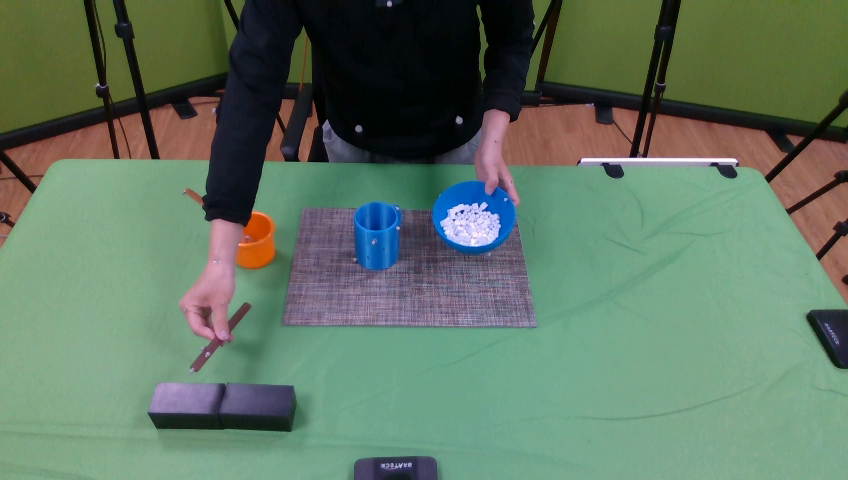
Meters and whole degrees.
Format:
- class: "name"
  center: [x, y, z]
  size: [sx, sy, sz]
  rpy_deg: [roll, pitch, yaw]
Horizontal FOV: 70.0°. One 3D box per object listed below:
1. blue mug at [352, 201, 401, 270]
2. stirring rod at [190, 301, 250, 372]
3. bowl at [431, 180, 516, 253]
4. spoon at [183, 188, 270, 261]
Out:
- class: "blue mug"
  center: [-0.082, -0.017, 1.144]
  size: [0.082, 0.106, 0.116]
  rpy_deg: [30, 51, 22]
- class: "stirring rod"
  center: [-0.311, 0.145, 0.935]
  size: [0.014, 0.006, 0.175]
  rpy_deg: [30, 29, -5]
- class: "bowl"
  center: [0.090, -0.028, 1.109]
  size: [0.151, 0.077, 0.150]
  rpy_deg: [-2, 56, 3]
- class: "spoon"
  center: [-0.360, -0.029, 1.110]
  size: [0.021, 0.194, 0.041]
  rpy_deg: [-21, 31, 41]
